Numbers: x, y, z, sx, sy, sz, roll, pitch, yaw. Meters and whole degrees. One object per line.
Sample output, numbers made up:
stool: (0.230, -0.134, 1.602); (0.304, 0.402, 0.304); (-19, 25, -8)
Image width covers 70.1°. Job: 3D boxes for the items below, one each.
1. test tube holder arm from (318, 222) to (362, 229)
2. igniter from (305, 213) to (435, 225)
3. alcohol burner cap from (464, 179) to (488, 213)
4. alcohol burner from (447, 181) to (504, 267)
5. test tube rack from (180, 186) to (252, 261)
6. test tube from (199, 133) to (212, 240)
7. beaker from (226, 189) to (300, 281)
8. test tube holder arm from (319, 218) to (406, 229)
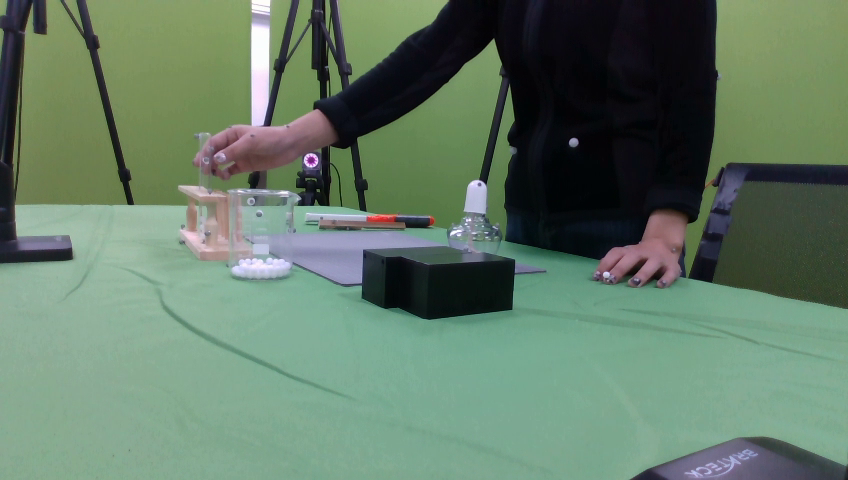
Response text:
test tube holder arm: (-0.166, -0.030, 1.203); (0.088, 0.015, 0.010); (1, -24, -20)
igniter: (-0.113, -0.046, 1.299); (0.277, 0.025, 0.057); (1, -3, -12)
alcohol burner cap: (0.073, -0.060, 0.824); (0.034, 0.048, 0.034); (7, 4, 0)
alcohol burner: (0.070, -0.024, 0.828); (0.078, 0.119, 0.078); (0, 7, 0)
test tube rack: (-0.312, -0.031, 0.893); (0.067, 0.085, 0.241); (-1, 8, -27)
test tube: (-0.306, -0.075, 0.846); (0.017, 0.150, 0.017); (1, 0, 0)
beaker: (-0.184, -0.007, 0.694); (0.084, 0.100, 0.073); (-1, 8, -29)
test tube holder arm: (-0.121, -0.032, 1.214); (0.179, 0.015, 0.013); (1, -24, -21)
